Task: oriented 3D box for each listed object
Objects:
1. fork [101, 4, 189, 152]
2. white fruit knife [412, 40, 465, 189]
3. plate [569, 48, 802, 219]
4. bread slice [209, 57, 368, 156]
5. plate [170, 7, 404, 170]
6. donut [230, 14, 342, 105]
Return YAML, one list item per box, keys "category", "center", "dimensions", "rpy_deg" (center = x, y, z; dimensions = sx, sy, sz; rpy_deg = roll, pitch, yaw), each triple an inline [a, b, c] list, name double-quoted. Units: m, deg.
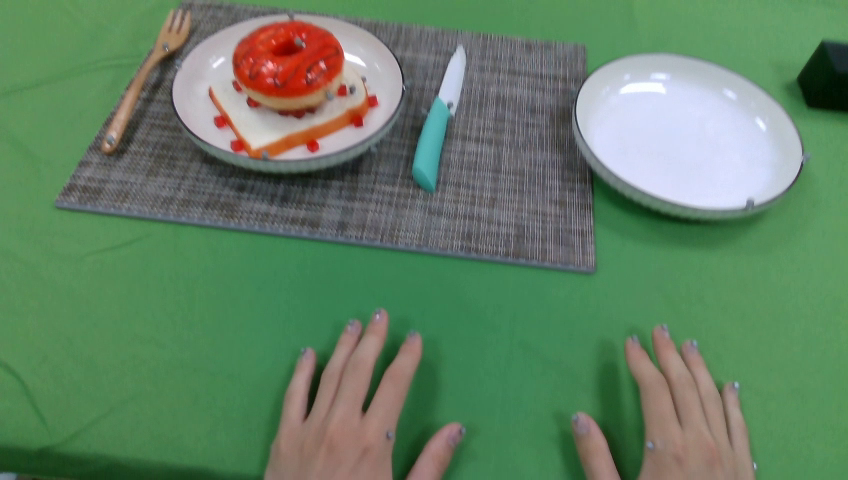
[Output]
- category: "fork"
  center: [-0.266, -0.163, 0.582]
  dimensions: [0.028, 0.019, 0.205]
  rpy_deg: [10, 53, -6]
- category: "white fruit knife"
  center: [0.018, -0.131, 0.584]
  dimensions: [0.027, 0.016, 0.205]
  rpy_deg: [29, 51, -19]
- category: "plate"
  center: [0.236, -0.098, 0.565]
  dimensions: [0.208, 0.039, 0.205]
  rpy_deg: [2, 55, -2]
- category: "bread slice"
  center: [-0.121, -0.135, 0.565]
  dimensions: [0.131, 0.019, 0.104]
  rpy_deg: [-28, 62, -20]
- category: "plate"
  center: [-0.124, -0.140, 0.565]
  dimensions: [0.209, 0.038, 0.207]
  rpy_deg: [2, 55, -2]
- category: "donut"
  center: [-0.121, -0.160, 0.536]
  dimensions: [0.099, 0.048, 0.098]
  rpy_deg: [2, 55, -2]
